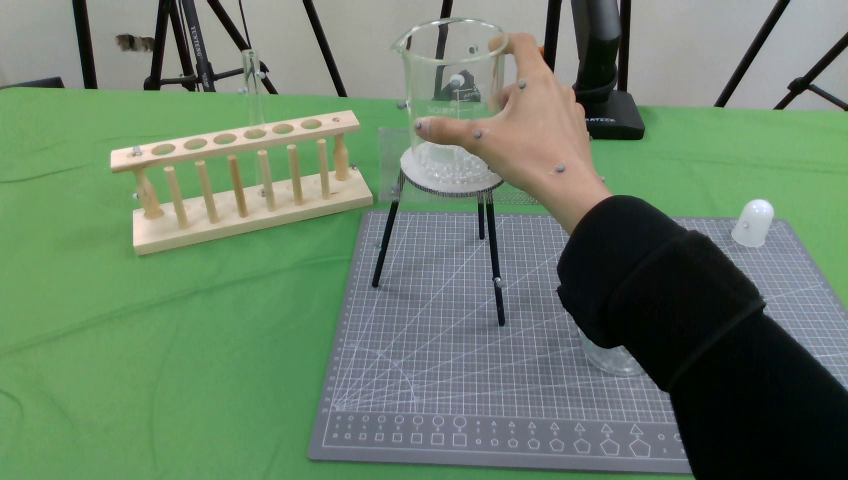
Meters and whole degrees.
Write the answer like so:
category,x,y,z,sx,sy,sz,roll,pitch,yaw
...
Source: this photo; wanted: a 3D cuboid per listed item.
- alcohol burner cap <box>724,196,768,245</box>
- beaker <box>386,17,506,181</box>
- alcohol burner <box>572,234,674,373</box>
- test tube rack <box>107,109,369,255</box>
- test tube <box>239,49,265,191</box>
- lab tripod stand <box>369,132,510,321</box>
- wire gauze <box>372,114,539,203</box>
category,x,y,z,sx,sy,sz,roll,pitch,yaw
alcohol burner cap,0.324,-0.022,0.605,0.034,0.048,0.033,0,39,0
beaker,0.017,-0.101,0.447,0.084,0.101,0.073,2,41,7
alcohol burner,0.156,0.046,0.467,0.078,0.120,0.077,0,37,1
test tube rack,-0.185,-0.064,0.630,0.243,0.086,0.066,-14,41,-16
test tube,-0.174,-0.117,0.616,0.017,0.151,0.017,3,33,-2
lab tripod stand,0.021,-0.014,0.525,0.148,0.132,0.147,-1,41,1
wire gauze,0.020,-0.066,0.483,0.125,0.011,0.120,-3,40,-1
